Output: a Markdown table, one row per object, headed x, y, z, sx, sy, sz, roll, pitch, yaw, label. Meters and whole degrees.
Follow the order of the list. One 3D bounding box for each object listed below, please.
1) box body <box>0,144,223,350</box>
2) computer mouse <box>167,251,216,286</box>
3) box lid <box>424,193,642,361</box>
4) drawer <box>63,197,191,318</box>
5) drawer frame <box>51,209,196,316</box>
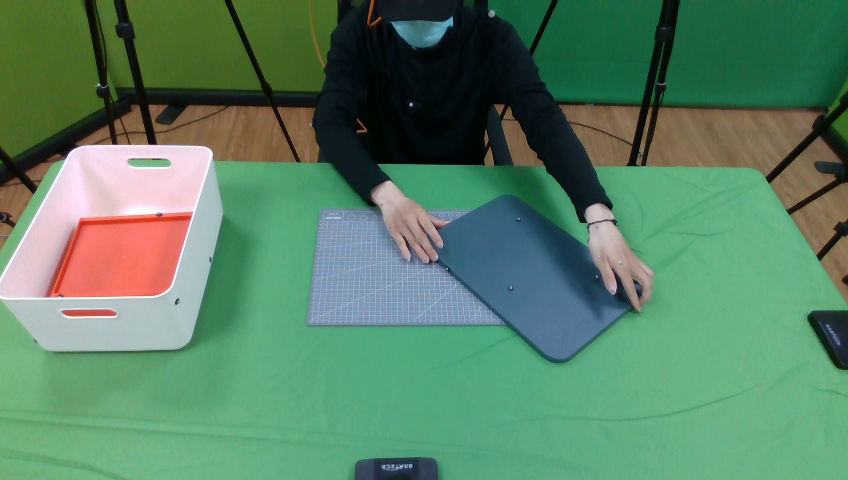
| x | y | z | sx | sy | sz | roll | pitch | yaw | label |
| --- | --- | --- | --- | --- | --- | --- | --- | --- | --- |
| -0.510 | 0.008 | 1.054 | 0.254 | 0.161 | 0.361 | -1 | 46 | -5 | box body |
| -0.417 | 0.038 | 1.057 | 0.063 | 0.041 | 0.116 | -34 | 51 | -27 | computer mouse |
| 0.204 | 0.051 | 1.169 | 0.263 | 0.015 | 0.369 | -30 | 55 | -30 | box lid |
| -0.513 | 0.040 | 1.059 | 0.212 | 0.074 | 0.193 | -15 | 52 | 3 | drawer |
| -0.503 | 0.045 | 1.066 | 0.214 | 0.083 | 0.200 | -5 | 47 | -7 | drawer frame |
